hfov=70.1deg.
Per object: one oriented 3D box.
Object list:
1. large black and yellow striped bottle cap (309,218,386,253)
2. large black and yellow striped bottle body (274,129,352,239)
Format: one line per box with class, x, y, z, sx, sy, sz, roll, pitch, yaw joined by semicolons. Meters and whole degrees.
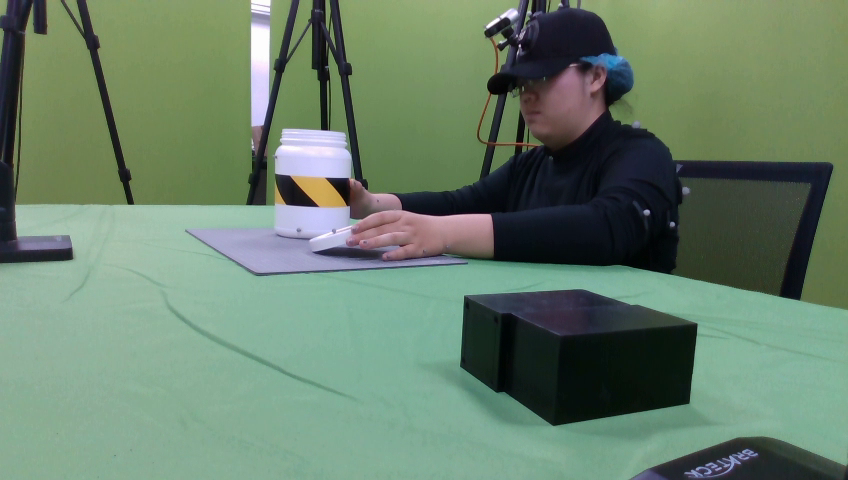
large black and yellow striped bottle cap;-0.113;-0.007;0.888;0.115;0.019;0.115;-17;5;2
large black and yellow striped bottle body;-0.194;-0.099;1.058;0.131;0.184;0.130;3;8;0
